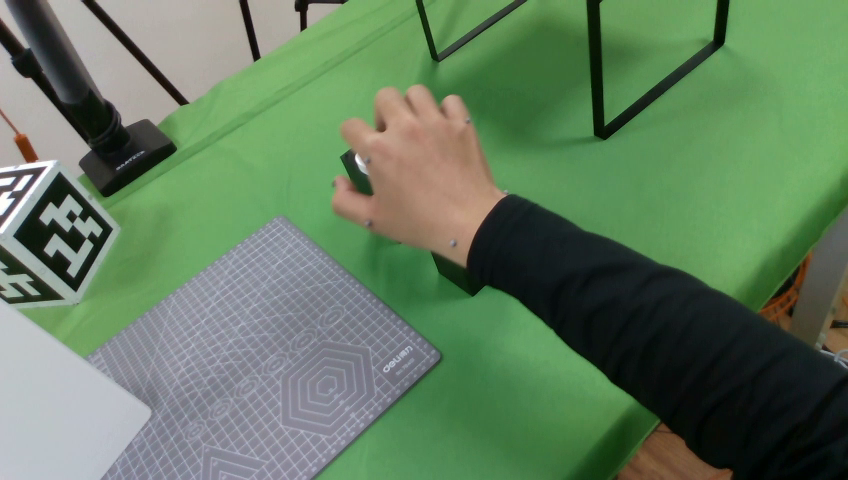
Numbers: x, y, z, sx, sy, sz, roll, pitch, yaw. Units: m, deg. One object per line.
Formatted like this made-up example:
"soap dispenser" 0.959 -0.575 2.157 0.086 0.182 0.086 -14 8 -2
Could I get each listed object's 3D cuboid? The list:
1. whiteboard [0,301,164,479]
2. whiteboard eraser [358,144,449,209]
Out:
"whiteboard" -0.423 0.143 0.489 0.143 0.308 0.216 -1 46 46
"whiteboard eraser" -0.021 -0.060 0.549 0.041 0.019 0.100 -41 49 -20
